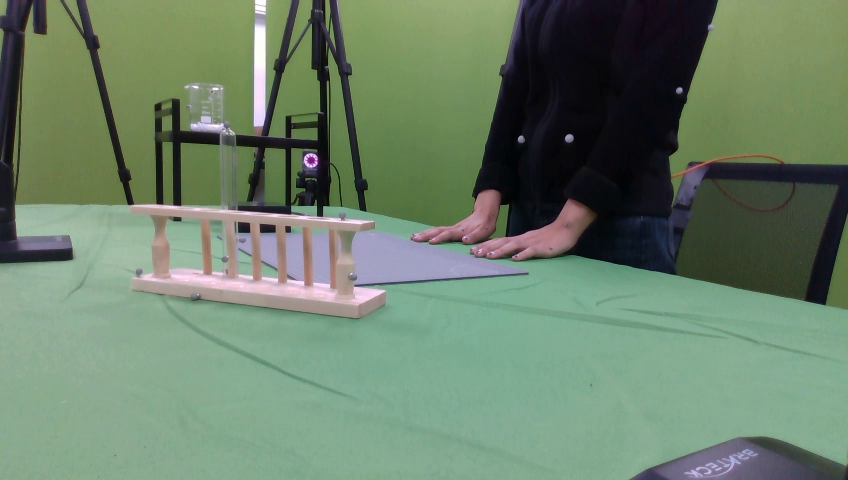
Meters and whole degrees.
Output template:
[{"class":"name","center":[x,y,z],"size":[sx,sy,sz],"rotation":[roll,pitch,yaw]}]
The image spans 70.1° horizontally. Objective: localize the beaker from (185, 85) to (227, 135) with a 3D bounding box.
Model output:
[{"class":"beaker","center":[-0.460,-0.275,1.282],"size":[0.084,0.100,0.073],"rotation":[-3,8,-27]}]

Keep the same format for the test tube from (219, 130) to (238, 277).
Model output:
[{"class":"test tube","center":[-0.198,-0.036,0.613],"size":[0.017,0.150,0.017],"rotation":[2,8,0]}]

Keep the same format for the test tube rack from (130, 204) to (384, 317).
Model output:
[{"class":"test tube rack","center":[-0.163,0.013,0.589],"size":[0.242,0.085,0.067],"rotation":[5,8,17]}]
